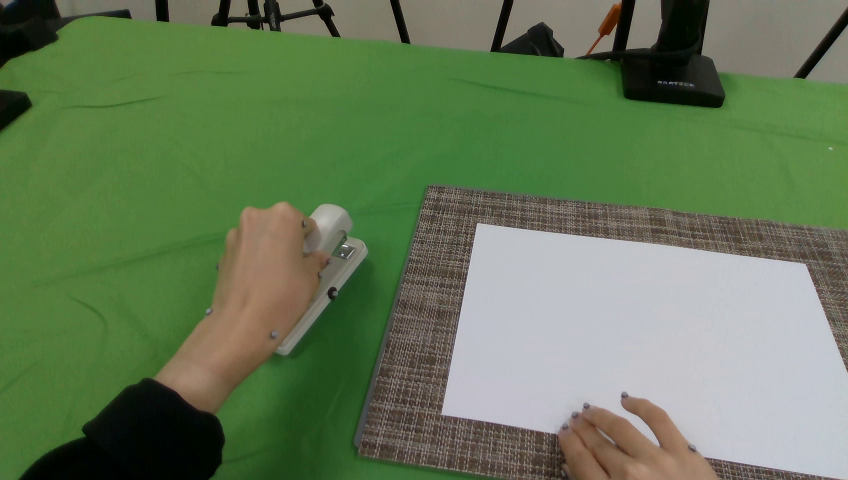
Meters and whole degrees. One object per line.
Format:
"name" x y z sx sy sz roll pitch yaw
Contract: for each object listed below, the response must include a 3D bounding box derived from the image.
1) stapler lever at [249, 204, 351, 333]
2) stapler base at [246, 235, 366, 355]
"stapler lever" -0.097 0.018 0.481 0.026 0.040 0.117 16 49 21
"stapler base" -0.095 0.035 0.501 0.041 0.025 0.130 16 49 21
